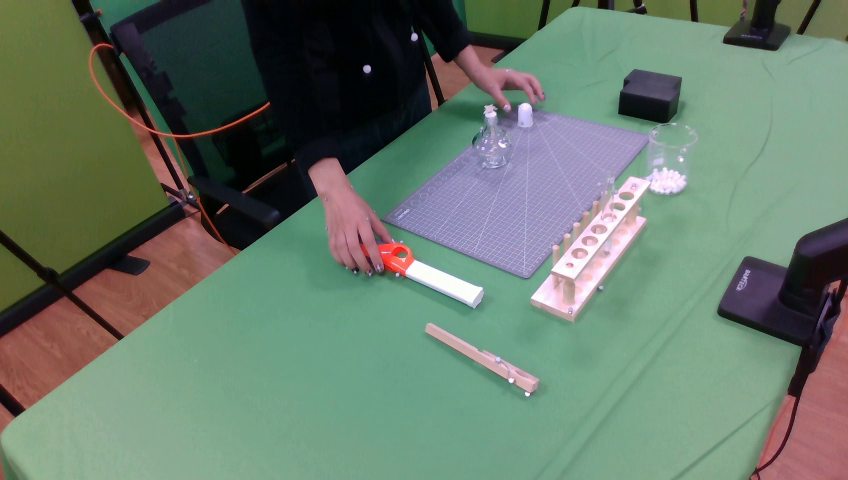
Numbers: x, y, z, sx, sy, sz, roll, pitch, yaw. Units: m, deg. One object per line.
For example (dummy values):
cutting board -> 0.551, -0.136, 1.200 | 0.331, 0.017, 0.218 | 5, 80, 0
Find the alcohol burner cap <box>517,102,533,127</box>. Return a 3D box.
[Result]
alcohol burner cap -> 0.204, -0.255, 1.223 | 0.034, 0.048, 0.033 | -6, 40, 5

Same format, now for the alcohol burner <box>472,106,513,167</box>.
alcohol burner -> 0.125, -0.195, 1.111 | 0.078, 0.119, 0.077 | -5, 42, 5

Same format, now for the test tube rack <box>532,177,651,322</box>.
test tube rack -> 0.247, 0.002, 0.883 | 0.066, 0.085, 0.243 | 22, 49, 32

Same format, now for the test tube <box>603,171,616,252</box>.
test tube -> 0.259, -0.036, 0.848 | 0.017, 0.151, 0.017 | -8, 46, 9

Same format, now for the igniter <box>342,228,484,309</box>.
igniter -> -0.027, 0.039, 0.936 | 0.274, 0.025, 0.057 | 23, 60, 32

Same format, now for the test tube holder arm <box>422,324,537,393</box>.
test tube holder arm -> 0.068, 0.152, 0.789 | 0.177, 0.015, 0.013 | 23, 15, 32

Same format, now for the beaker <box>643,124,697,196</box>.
beaker -> 0.407, -0.132, 1.001 | 0.084, 0.101, 0.073 | -20, 42, -13

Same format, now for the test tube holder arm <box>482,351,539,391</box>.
test tube holder arm -> 0.106, 0.166, 0.769 | 0.087, 0.015, 0.010 | 24, 15, 34
